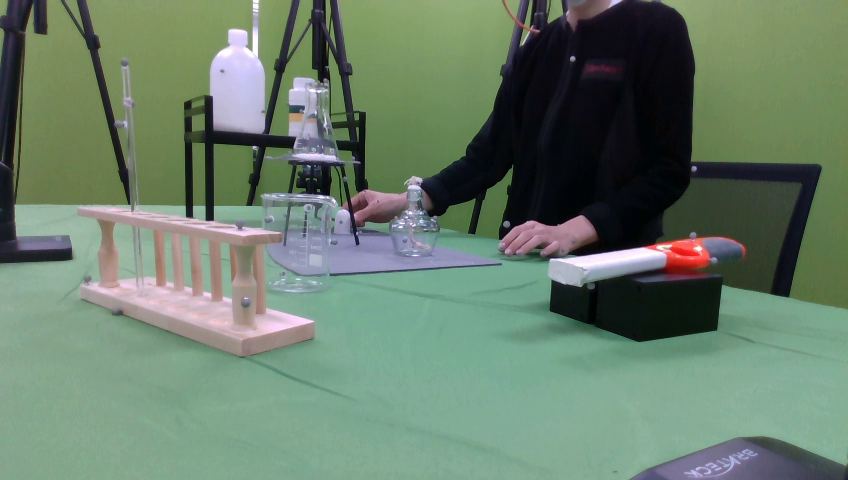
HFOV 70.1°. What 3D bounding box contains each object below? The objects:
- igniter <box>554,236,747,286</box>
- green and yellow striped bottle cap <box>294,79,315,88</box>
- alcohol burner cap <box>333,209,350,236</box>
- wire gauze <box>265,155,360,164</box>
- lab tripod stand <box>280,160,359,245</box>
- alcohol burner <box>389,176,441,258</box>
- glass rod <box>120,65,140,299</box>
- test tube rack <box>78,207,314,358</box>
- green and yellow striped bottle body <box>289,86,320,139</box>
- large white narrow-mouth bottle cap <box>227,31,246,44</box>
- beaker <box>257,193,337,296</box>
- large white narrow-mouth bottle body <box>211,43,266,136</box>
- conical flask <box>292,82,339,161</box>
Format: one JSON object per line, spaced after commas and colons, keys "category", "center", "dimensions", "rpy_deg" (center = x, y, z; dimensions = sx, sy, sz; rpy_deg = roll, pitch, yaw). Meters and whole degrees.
{"category": "igniter", "center": [0.221, 0.017, 0.558], "dimensions": [0.278, 0.025, 0.057], "rpy_deg": [-5, 14, -39]}
{"category": "green and yellow striped bottle cap", "center": [-0.248, -0.323, 1.256], "dimensions": [0.045, 0.020, 0.045], "rpy_deg": [3, 9, 0]}
{"category": "alcohol burner cap", "center": [-0.151, -0.033, 1.116], "dimensions": [0.034, 0.048, 0.034], "rpy_deg": [4, 7, 0]}
{"category": "wire gauze", "center": [-0.181, -0.128, 0.969], "dimensions": [0.126, 0.011, 0.121], "rpy_deg": [-3, 7, -26]}
{"category": "lab tripod stand", "center": [-0.176, -0.062, 0.973], "dimensions": [0.148, 0.131, 0.148], "rpy_deg": [1, 7, 0]}
{"category": "alcohol burner", "center": [-0.013, -0.034, 0.891], "dimensions": [0.078, 0.119, 0.078], "rpy_deg": [1, 6, 0]}
{"category": "glass rod", "center": [-0.249, -0.047, 0.513], "dimensions": [0.008, 0.199, 0.008], "rpy_deg": [-1, 4, 0]}
{"category": "test tube rack", "center": [-0.196, 0.024, 0.500], "dimensions": [0.241, 0.085, 0.067], "rpy_deg": [8, 8, 37]}
{"category": "green and yellow striped bottle body", "center": [-0.250, -0.272, 1.261], "dimensions": [0.063, 0.119, 0.063], "rpy_deg": [3, 7, 0]}
{"category": "large white narrow-mouth bottle cap", "center": [-0.361, -0.388, 1.165], "dimensions": [0.038, 0.024, 0.037], "rpy_deg": [1, 7, 0]}
{"category": "beaker", "center": [-0.130, 0.004, 0.628], "dimensions": [0.084, 0.100, 0.074], "rpy_deg": [5, 8, 15]}
{"category": "large white narrow-mouth bottle body", "center": [-0.361, -0.302, 1.176], "dimensions": [0.102, 0.194, 0.102], "rpy_deg": [1, 7, 0]}
{"category": "conical flask", "center": [-0.171, -0.185, 0.957], "dimensions": [0.075, 0.122, 0.075], "rpy_deg": [2, 7, 0]}
